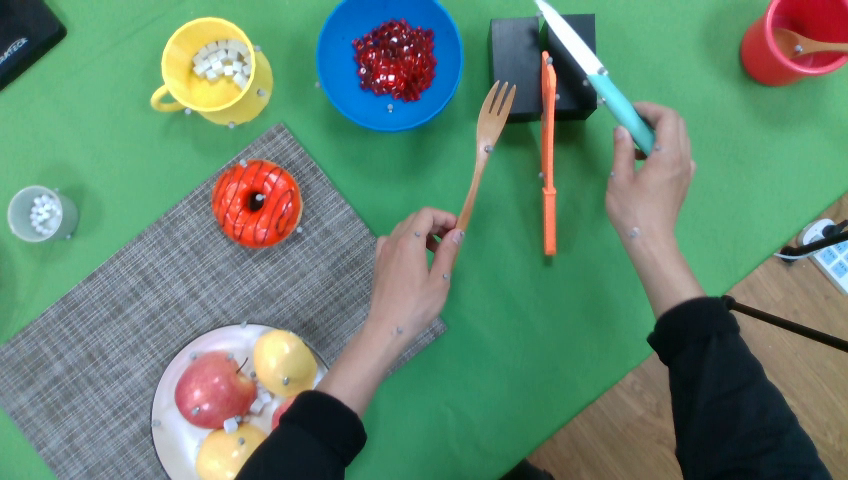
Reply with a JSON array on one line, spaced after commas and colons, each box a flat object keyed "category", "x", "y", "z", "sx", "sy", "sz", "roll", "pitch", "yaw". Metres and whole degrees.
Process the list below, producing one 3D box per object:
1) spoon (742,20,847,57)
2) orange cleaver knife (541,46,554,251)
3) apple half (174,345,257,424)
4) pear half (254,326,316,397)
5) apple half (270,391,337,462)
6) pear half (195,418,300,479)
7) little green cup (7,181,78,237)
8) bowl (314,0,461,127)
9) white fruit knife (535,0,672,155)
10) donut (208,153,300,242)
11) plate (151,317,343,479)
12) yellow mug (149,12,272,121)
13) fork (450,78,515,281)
[{"category": "spoon", "x": 0.418, "y": -0.197, "z": 0.606, "sx": 0.192, "sy": 0.022, "sz": 0.041, "roll": 25, "pitch": 89, "yaw": 46}, {"category": "orange cleaver knife", "x": 0.129, "y": -0.093, "z": 0.641, "sx": 0.012, "sy": 0.076, "sz": 0.213, "roll": -2, "pitch": 114, "yaw": 6}, {"category": "apple half", "x": -0.227, "y": 0.158, "z": 0.646, "sx": 0.074, "sy": 0.053, "sz": 0.081, "roll": -34, "pitch": 92, "yaw": 1}, {"category": "pear half", "x": -0.154, "y": 0.137, "z": 0.649, "sx": 0.070, "sy": 0.031, "sz": 0.088, "roll": -14, "pitch": 93, "yaw": 21}, {"category": "apple half", "x": -0.137, "y": 0.203, "z": 0.645, "sx": 0.081, "sy": 0.033, "sz": 0.081, "roll": 4, "pitch": 105, "yaw": 17}, {"category": "pear half", "x": -0.187, "y": 0.236, "z": 0.647, "sx": 0.110, "sy": 0.056, "sz": 0.076, "roll": 12, "pitch": 93, "yaw": -2}, {"category": "little green cup", "x": -0.422, "y": -0.032, "z": 0.674, "sx": 0.061, "sy": 0.038, "sz": 0.061, "roll": 0, "pitch": 89, "yaw": 2}, {"category": "bowl", "x": -0.036, "y": -0.189, "z": 0.649, "sx": 0.151, "sy": 0.077, "sz": 0.151, "roll": 0, "pitch": 90, "yaw": 1}, {"category": "white fruit knife", "x": 0.171, "y": -0.163, "z": 0.595, "sx": 0.027, "sy": 0.016, "sz": 0.207, "roll": -36, "pitch": 86, "yaw": -21}, {"category": "donut", "x": -0.185, "y": -0.046, "z": 0.663, "sx": 0.099, "sy": 0.048, "sz": 0.099, "roll": 0, "pitch": 91, "yaw": 3}, {"category": "plate", "x": -0.189, "y": 0.187, "z": 0.662, "sx": 0.209, "sy": 0.038, "sz": 0.209, "roll": 0, "pitch": 89, "yaw": 2}, {"category": "yellow mug", "x": -0.238, "y": -0.179, "z": 0.659, "sx": 0.131, "sy": 0.064, "sz": 0.100, "roll": -28, "pitch": 88, "yaw": 1}, {"category": "fork", "x": 0.055, "y": -0.053, "z": 0.588, "sx": 0.018, "sy": 0.028, "sz": 0.208, "roll": 22, "pitch": 111, "yaw": 10}]
